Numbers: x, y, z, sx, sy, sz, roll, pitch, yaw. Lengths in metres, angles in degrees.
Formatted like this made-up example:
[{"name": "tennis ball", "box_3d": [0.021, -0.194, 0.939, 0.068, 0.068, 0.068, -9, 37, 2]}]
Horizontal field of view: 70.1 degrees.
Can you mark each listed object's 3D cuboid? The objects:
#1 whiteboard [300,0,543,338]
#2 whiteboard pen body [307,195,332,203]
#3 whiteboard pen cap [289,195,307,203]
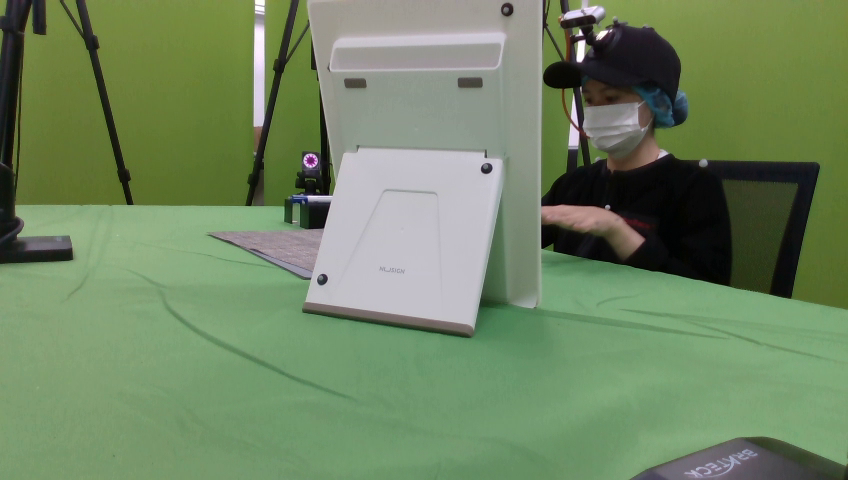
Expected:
[{"name": "whiteboard", "box_3d": [-0.020, -0.050, 0.523, 0.216, 0.305, 0.144, 6, 27, 22]}, {"name": "whiteboard pen body", "box_3d": [-0.195, -0.082, 1.223, 0.141, 0.017, 0.017, -2, 9, -34]}, {"name": "whiteboard pen cap", "box_3d": [-0.247, -0.081, 1.189, 0.033, 0.018, 0.018, -4, 10, -32]}]
